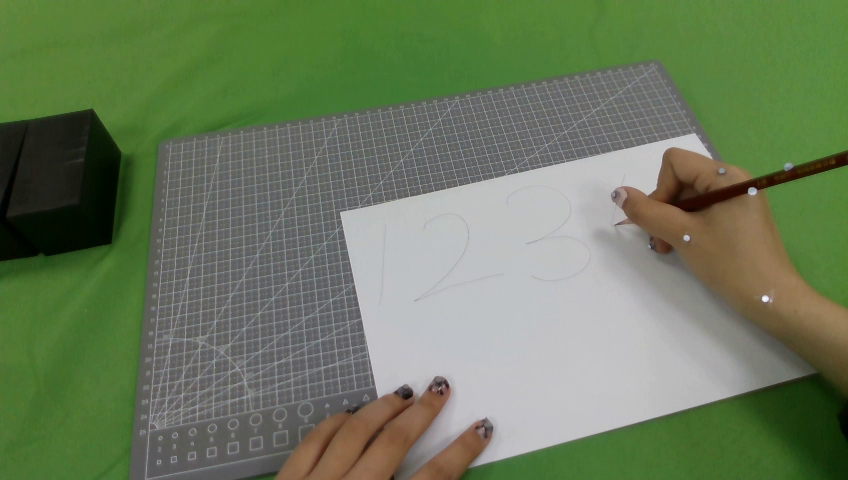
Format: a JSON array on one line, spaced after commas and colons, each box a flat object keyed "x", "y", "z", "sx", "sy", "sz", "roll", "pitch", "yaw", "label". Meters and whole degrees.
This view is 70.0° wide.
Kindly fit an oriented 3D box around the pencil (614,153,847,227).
[{"x": 0.188, "y": -0.029, "z": 0.368, "sx": 0.012, "sy": 0.193, "sz": 0.012, "roll": 7, "pitch": 75, "yaw": -28, "label": "pencil"}]
